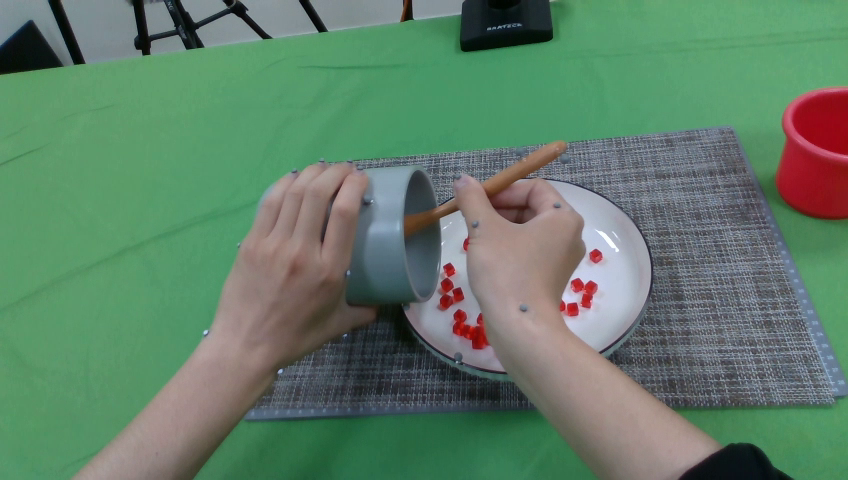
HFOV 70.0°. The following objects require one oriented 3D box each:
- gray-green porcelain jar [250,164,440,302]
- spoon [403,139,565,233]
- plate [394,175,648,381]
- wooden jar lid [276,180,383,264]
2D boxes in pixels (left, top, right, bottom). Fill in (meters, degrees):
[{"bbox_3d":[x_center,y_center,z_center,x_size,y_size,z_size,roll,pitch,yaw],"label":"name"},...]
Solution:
[{"bbox_3d":[-0.061,-0.004,0.474,0.126,0.107,0.105,-2,48,15],"label":"gray-green porcelain jar"},{"bbox_3d":[0.013,-0.026,0.435,0.193,0.022,0.041,-23,49,24],"label":"spoon"},{"bbox_3d":[0.077,0.030,0.508,0.207,0.039,0.205,-6,48,7],"label":"plate"},{"bbox_3d":[-0.092,-0.017,0.602,0.108,0.021,0.107,-6,47,7],"label":"wooden jar lid"}]
